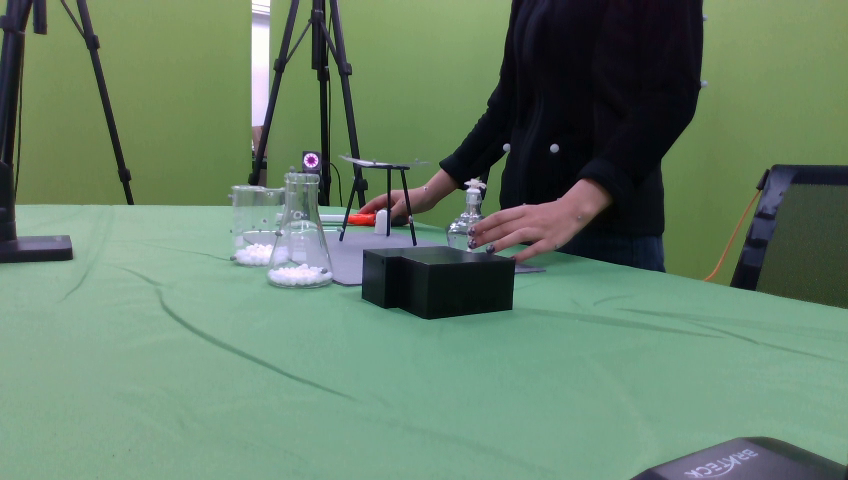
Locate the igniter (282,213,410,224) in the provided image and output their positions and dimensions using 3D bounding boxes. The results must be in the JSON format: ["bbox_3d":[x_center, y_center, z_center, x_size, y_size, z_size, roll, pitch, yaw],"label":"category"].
[{"bbox_3d":[-0.159,-0.046,1.287,0.278,0.025,0.057,0,-2,-21],"label":"igniter"}]

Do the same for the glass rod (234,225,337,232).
[{"bbox_3d":[-0.256,-0.022,1.136,0.201,0.008,0.008,-3,9,-33],"label":"glass rod"}]

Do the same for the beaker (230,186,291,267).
[{"bbox_3d":[-0.209,-0.019,0.778,0.074,0.100,0.084,3,6,4],"label":"beaker"}]

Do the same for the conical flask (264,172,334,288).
[{"bbox_3d":[-0.136,-0.013,0.660,0.075,0.122,0.075,2,7,0],"label":"conical flask"}]

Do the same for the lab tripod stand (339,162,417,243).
[{"bbox_3d":[-0.067,-0.065,1.027,0.148,0.131,0.148,4,7,0],"label":"lab tripod stand"}]

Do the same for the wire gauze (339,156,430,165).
[{"bbox_3d":[-0.067,-0.132,1.022,0.122,0.011,0.124,-1,9,-31],"label":"wire gauze"}]

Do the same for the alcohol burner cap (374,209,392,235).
[{"bbox_3d":[-0.078,-0.036,1.148,0.034,0.048,0.034,3,7,0],"label":"alcohol burner cap"}]

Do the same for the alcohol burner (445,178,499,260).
[{"bbox_3d":[0.071,-0.030,0.875,0.078,0.119,0.078,4,6,0],"label":"alcohol burner"}]
